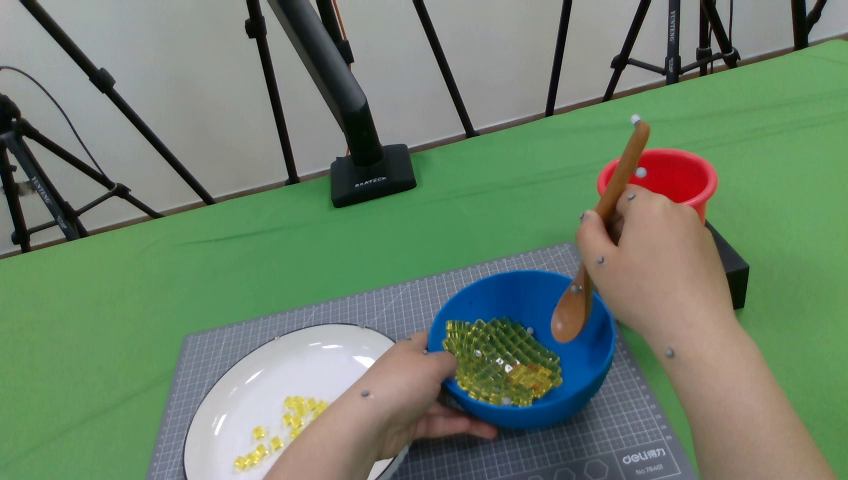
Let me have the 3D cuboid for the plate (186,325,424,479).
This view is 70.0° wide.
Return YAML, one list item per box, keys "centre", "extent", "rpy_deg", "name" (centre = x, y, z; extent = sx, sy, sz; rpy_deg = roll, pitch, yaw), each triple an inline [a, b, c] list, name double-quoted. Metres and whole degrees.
- centre: [-0.099, 0.161, 0.531]
  extent: [0.207, 0.039, 0.205]
  rpy_deg: [-10, 37, 8]
  name: "plate"

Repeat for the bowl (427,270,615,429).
- centre: [0.083, 0.103, 0.507]
  extent: [0.151, 0.077, 0.150]
  rpy_deg: [-10, 37, 8]
  name: "bowl"

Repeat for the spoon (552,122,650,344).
- centre: [0.119, 0.004, 0.423]
  extent: [0.021, 0.195, 0.041]
  rpy_deg: [1, 43, -4]
  name: "spoon"
